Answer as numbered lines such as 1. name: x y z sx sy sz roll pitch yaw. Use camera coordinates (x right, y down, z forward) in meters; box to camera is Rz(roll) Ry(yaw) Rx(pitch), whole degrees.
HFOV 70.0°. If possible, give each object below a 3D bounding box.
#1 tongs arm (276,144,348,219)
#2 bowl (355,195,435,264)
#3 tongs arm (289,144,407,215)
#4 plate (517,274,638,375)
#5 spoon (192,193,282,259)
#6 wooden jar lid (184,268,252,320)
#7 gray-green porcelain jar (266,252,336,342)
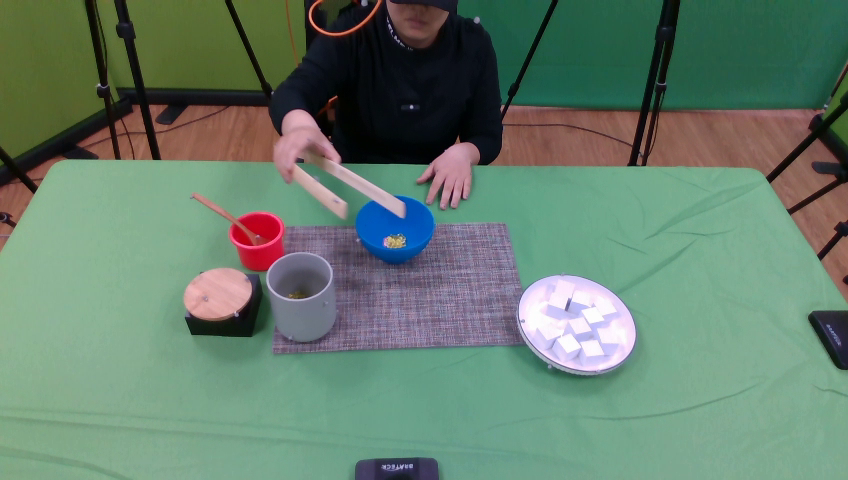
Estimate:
1. tongs arm: -0.185 -0.106 1.002 0.051 0.026 0.382 -8 23 -30
2. bowl: -0.056 -0.008 1.158 0.151 0.077 0.150 2 46 -2
3. tongs arm: -0.139 -0.110 1.029 0.028 0.028 0.385 -14 27 -32
4. plate: 0.264 0.149 1.060 0.209 0.038 0.208 3 46 -3
5. spoon: -0.342 -0.027 1.115 0.194 0.021 0.041 43 40 -24
6. wooden jar lid: -0.343 0.092 1.015 0.108 0.021 0.107 3 46 -3
7. gray-green porcelain jar: -0.202 0.100 1.009 0.106 0.127 0.105 2 46 -2
